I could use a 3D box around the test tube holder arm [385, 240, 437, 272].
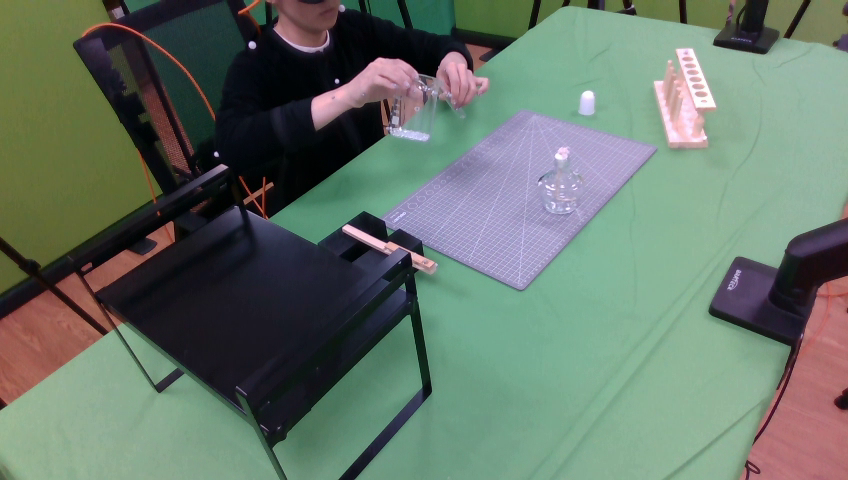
[{"bbox_3d":[-0.020,0.022,0.873,0.087,0.010,0.015,26,56,31],"label":"test tube holder arm"}]

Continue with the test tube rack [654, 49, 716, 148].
[{"bbox_3d":[0.502,-0.281,1.176,0.066,0.085,0.241,1,41,11],"label":"test tube rack"}]

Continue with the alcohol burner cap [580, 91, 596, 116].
[{"bbox_3d":[0.338,-0.283,1.238,0.034,0.048,0.033,-5,42,5],"label":"alcohol burner cap"}]

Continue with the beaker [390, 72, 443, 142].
[{"bbox_3d":[-0.014,-0.212,0.974,0.073,0.100,0.084,13,8,19],"label":"beaker"}]

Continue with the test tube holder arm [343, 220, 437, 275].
[{"bbox_3d":[-0.054,0.009,0.899,0.177,0.013,0.015,26,57,30],"label":"test tube holder arm"}]

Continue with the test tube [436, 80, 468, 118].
[{"bbox_3d":[0.053,-0.257,1.111,0.017,0.151,0.017,-4,78,21],"label":"test tube"}]

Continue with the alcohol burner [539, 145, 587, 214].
[{"bbox_3d":[0.226,-0.103,0.985,0.078,0.119,0.077,-6,41,6],"label":"alcohol burner"}]
